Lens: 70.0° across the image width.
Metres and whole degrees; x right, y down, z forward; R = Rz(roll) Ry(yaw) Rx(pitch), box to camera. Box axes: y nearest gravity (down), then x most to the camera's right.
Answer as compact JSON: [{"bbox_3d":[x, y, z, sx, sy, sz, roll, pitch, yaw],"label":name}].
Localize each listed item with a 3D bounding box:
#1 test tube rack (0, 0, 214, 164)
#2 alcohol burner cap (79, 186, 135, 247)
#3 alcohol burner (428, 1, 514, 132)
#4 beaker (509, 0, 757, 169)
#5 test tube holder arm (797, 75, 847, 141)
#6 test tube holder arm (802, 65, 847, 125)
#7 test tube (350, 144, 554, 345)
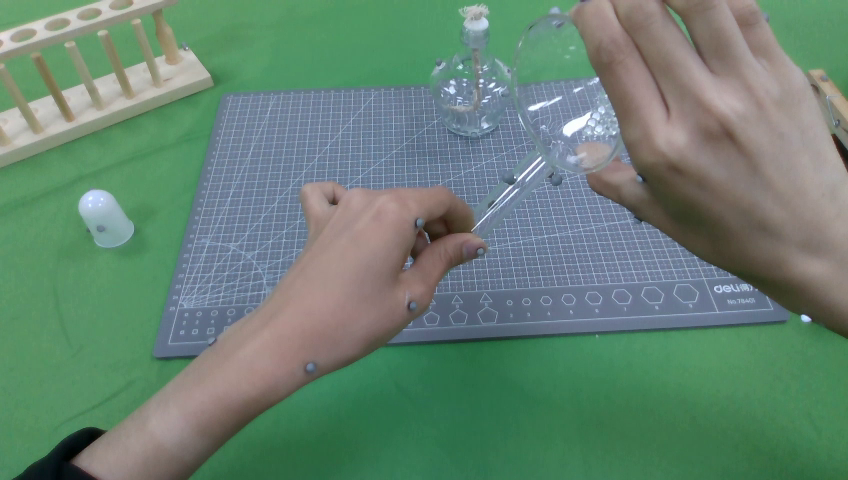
[{"bbox_3d":[-0.334,-0.155,0.565,0.242,0.086,0.066,-28,55,-20],"label":"test tube rack"},{"bbox_3d":[-0.256,-0.022,0.483,0.034,0.048,0.033,0,50,1],"label":"alcohol burner cap"},{"bbox_3d":[0.042,-0.155,0.533,0.078,0.120,0.077,0,52,0],"label":"alcohol burner"},{"bbox_3d":[0.103,-0.085,0.298,0.100,0.084,0.073,-27,64,-22],"label":"beaker"},{"bbox_3d":[0.334,-0.075,0.460,0.015,0.013,0.176,1,48,-6],"label":"test tube holder arm"},{"bbox_3d":[0.332,-0.112,0.485,0.015,0.010,0.087,1,49,-7],"label":"test tube holder arm"},{"bbox_3d":[0.012,0.006,0.330,0.150,0.017,0.017,-45,54,14],"label":"test tube"}]
